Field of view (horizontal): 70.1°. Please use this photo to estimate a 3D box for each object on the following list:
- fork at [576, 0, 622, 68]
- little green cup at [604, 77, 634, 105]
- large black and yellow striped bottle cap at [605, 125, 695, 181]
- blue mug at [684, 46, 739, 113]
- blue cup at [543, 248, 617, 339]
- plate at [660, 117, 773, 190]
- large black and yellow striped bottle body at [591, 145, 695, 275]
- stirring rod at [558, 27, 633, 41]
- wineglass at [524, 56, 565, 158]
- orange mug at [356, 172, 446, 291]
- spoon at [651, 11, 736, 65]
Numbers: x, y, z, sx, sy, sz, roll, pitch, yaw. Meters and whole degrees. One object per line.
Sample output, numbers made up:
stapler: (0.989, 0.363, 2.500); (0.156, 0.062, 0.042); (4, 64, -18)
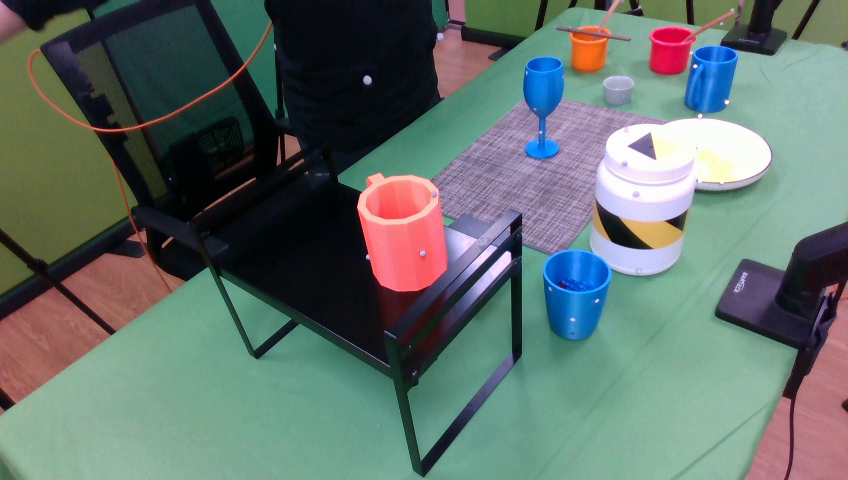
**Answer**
fork: (0.409, -0.484, 1.381); (0.028, 0.019, 0.207); (37, 101, 46)
little green cup: (0.407, -0.311, 1.266); (0.061, 0.039, 0.061); (-5, 40, 5)
large black and yellow striped bottle cap: (0.304, -0.120, 0.817); (0.115, 0.019, 0.114); (-3, 41, 3)
blue mug: (0.556, -0.310, 1.190); (0.117, 0.106, 0.081); (-32, 46, -25)
blue cup: (0.199, 0.076, 0.797); (0.092, 0.100, 0.092); (-4, 39, 4)
plate: (0.495, -0.148, 1.063); (0.209, 0.038, 0.208); (-5, 40, 4)
large black and yellow striped bottle body: (0.313, -0.056, 0.870); (0.131, 0.185, 0.130); (-4, 40, 4)
stirring rod: (0.381, -0.463, 1.356); (0.175, 0.006, 0.014); (21, 48, 30)
wineglass: (0.218, -0.240, 1.101); (0.074, 0.173, 0.073); (-5, 41, 4)
orange mug: (-0.030, -0.018, 0.669); (0.084, 0.101, 0.125); (-23, 47, -16)
spoon: (0.574, -0.431, 1.297); (0.193, 0.022, 0.041); (-34, 19, 47)
